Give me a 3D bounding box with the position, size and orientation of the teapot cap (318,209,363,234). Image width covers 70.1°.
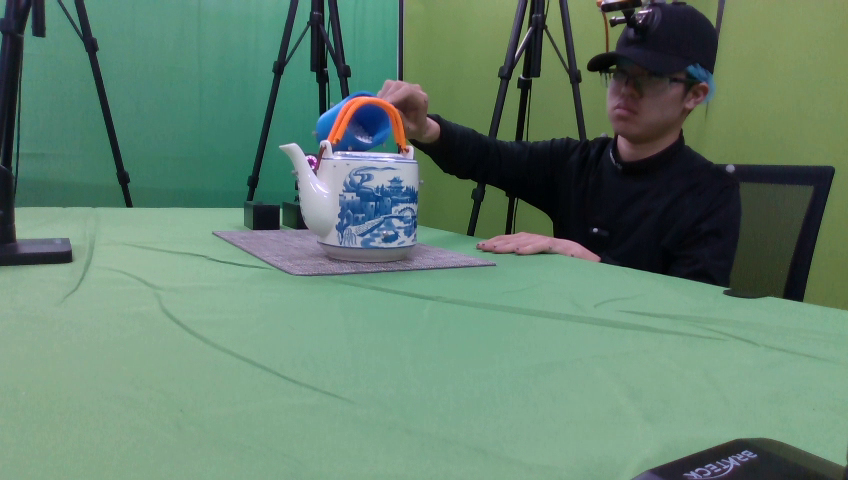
[{"bbox_3d":[-0.158,-0.036,1.144,0.085,0.044,0.085,0,6,0],"label":"teapot cap"}]

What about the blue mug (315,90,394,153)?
[{"bbox_3d":[-0.098,-0.183,0.935,0.117,0.082,0.105,-35,14,-29],"label":"blue mug"}]

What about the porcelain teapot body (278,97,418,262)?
[{"bbox_3d":[-0.103,-0.086,0.842,0.206,0.225,0.144,-4,9,-38],"label":"porcelain teapot body"}]
